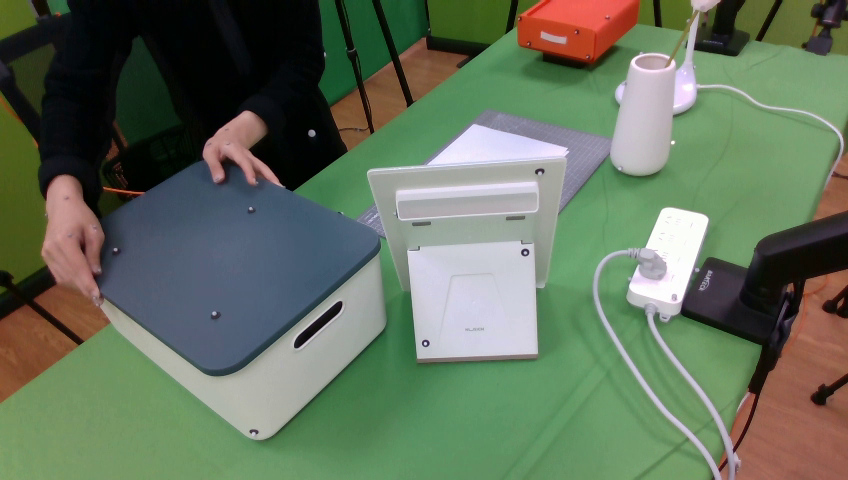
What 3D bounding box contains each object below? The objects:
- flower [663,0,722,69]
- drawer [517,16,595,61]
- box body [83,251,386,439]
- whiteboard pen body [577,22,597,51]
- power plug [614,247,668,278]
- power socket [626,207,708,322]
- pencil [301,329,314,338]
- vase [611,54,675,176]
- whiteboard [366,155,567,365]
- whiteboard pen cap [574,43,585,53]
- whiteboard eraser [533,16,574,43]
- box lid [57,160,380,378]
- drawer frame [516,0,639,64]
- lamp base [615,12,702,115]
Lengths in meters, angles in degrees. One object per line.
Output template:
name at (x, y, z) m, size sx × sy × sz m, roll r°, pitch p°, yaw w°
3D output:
flower at (0.379, -0.261, 0.965) m, size 0.044 × 0.362 × 0.038 m, roll 21°, pitch 53°, yaw 5°
drawer at (0.353, -0.505, 1.404) m, size 0.193 × 0.073 × 0.212 m, roll 25°, pitch 50°, yaw 33°
box body at (-0.257, 0.068, 0.824) m, size 0.361 × 0.161 × 0.255 m, roll 24°, pitch 49°, yaw 31°
whiteboard pen body at (0.373, -0.468, 1.390) m, size 0.017 × 0.017 × 0.141 m, roll 14°, pitch 47°, yaw 23°
power plug at (0.306, 0.031, 0.851) m, size 0.072 × 0.053 × 0.035 m, roll 24°, pitch 49°, yaw 33°
power socket at (0.359, 0.025, 0.886) m, size 0.072 × 0.033 × 0.227 m, roll 16°, pitch 46°, yaw 26°
pencil at (-0.203, 0.113, 0.876) m, size 0.192 × 0.012 × 0.012 m, roll 22°, pitch 48°, yaw 38°
vase at (0.377, -0.209, 1.031) m, size 0.098 × 0.201 × 0.097 m, roll -3°, pitch 40°, yaw 3°
whiteboard at (0.059, 0.050, 0.738) m, size 0.217 × 0.307 × 0.143 m, roll -3°, pitch 60°, yaw 5°
whiteboard pen cap at (0.346, -0.430, 1.350) m, size 0.018 × 0.018 × 0.033 m, roll 16°, pitch 39°, yaw 25°
whiteboard eraser at (0.305, -0.493, 1.422) m, size 0.055 × 0.042 × 0.113 m, roll 27°, pitch 43°, yaw 25°
box lid at (-0.263, 0.011, 0.767) m, size 0.368 × 0.015 × 0.264 m, roll 23°, pitch 49°, yaw 31°
drawer frame at (0.356, -0.507, 1.410) m, size 0.200 × 0.083 × 0.214 m, roll 25°, pitch 51°, yaw 32°
lamp base at (0.484, -0.364, 1.211) m, size 0.180 × 0.181 × 0.159 m, roll -15°, pitch 41°, yaw -14°
